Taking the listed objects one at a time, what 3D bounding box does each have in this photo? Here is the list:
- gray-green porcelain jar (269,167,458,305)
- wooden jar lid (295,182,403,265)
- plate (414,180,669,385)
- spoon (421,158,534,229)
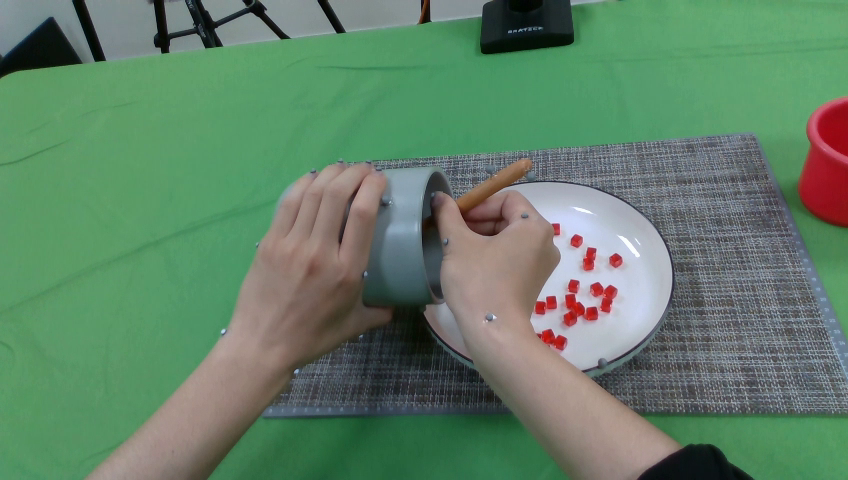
[{"bbox_3d":[-0.047,-0.002,0.474,0.126,0.107,0.105,-1,48,17],"label":"gray-green porcelain jar"},{"bbox_3d":[-0.074,-0.016,0.604,0.108,0.021,0.107,-6,46,7],"label":"wooden jar lid"},{"bbox_3d":[0.093,0.033,0.508,0.207,0.039,0.205,-6,47,7],"label":"plate"},{"bbox_3d":[-0.001,-0.016,0.453,0.193,0.022,0.041,-24,48,27],"label":"spoon"}]
